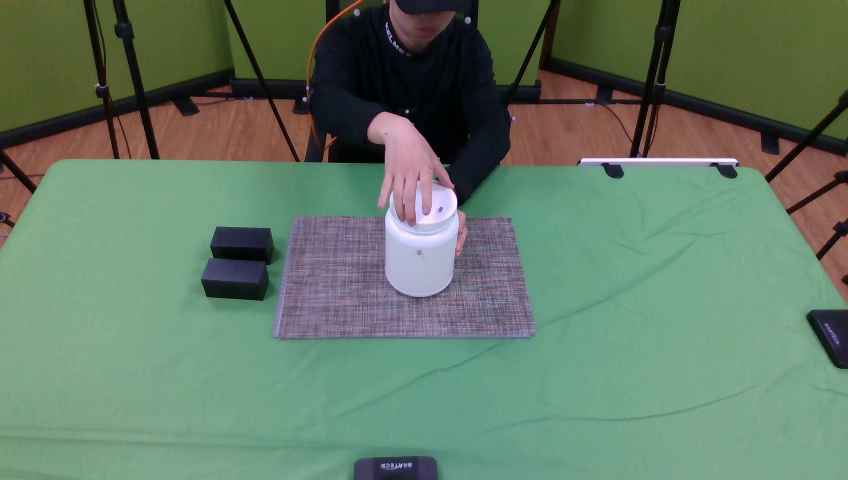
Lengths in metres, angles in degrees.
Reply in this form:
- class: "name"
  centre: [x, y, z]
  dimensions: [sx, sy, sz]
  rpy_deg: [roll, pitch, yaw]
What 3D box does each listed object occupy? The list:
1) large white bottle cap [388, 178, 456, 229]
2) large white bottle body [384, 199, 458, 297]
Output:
- class: "large white bottle cap"
  centre: [-0.003, -0.063, 1.019]
  dimensions: [0.115, 0.018, 0.114]
  rpy_deg: [2, 46, -2]
- class: "large white bottle body"
  centre: [-0.006, -0.002, 1.082]
  dimensions: [0.131, 0.185, 0.130]
  rpy_deg: [2, 46, -1]
